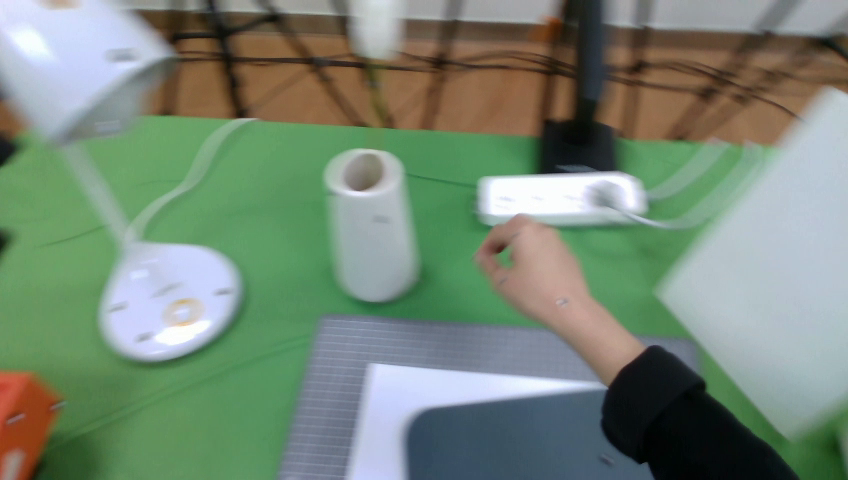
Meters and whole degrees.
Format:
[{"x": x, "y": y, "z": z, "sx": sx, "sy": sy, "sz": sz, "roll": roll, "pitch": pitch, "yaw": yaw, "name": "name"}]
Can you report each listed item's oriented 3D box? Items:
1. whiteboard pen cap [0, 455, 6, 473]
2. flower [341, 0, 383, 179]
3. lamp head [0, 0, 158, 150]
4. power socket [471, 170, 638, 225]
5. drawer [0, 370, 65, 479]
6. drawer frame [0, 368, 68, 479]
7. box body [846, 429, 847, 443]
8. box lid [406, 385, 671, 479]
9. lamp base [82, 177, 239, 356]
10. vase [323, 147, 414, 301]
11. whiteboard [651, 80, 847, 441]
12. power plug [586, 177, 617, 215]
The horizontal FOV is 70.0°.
[{"x": -0.423, "y": 0.222, "z": 0.582, "sx": 0.033, "sy": 0.018, "sz": 0.018, "roll": -22, "pitch": 55, "yaw": -17, "name": "whiteboard pen cap"}, {"x": -0.060, "y": -0.077, "z": 0.643, "sx": 0.038, "sy": 0.364, "sz": 0.043, "roll": -6, "pitch": 36, "yaw": -11, "name": "flower"}, {"x": -0.286, "y": -0.145, "z": 0.455, "sx": 0.123, "sy": 0.112, "sz": 0.112, "roll": 45, "pitch": 60, "yaw": -13, "name": "lamp head"}, {"x": 0.178, "y": -0.058, "z": 0.826, "sx": 0.227, "sy": 0.033, "sz": 0.071, "roll": -1, "pitch": 54, "yaw": 1, "name": "power socket"}, {"x": -0.483, "y": 0.217, "z": 0.561, "sx": 0.212, "sy": 0.074, "sz": 0.192, "roll": 2, "pitch": 55, "yaw": 4, "name": "drawer"}, {"x": -0.489, "y": 0.220, "z": 0.563, "sx": 0.213, "sy": 0.083, "sz": 0.200, "roll": 2, "pitch": 55, "yaw": 3, "name": "drawer frame"}, {"x": 0.539, "y": 0.289, "z": 0.476, "sx": 0.254, "sy": 0.162, "sz": 0.360, "roll": 2, "pitch": 54, "yaw": 4, "name": "box body"}, {"x": 0.127, "y": 0.317, "z": 0.564, "sx": 0.263, "sy": 0.015, "sz": 0.367, "roll": -6, "pitch": 54, "yaw": -3, "name": "box lid"}, {"x": -0.324, "y": 0.020, "z": 0.695, "sx": 0.178, "sy": 0.182, "sz": 0.160, "roll": 31, "pitch": 60, "yaw": 26, "name": "lamp base"}, {"x": -0.066, "y": -0.014, "z": 0.699, "sx": 0.098, "sy": 0.202, "sz": 0.097, "roll": -2, "pitch": 53, "yaw": 3, "name": "vase"}, {"x": 0.429, "y": 0.023, "z": 0.626, "sx": 0.144, "sy": 0.307, "sz": 0.215, "roll": -12, "pitch": 51, "yaw": -30, "name": "whiteboard"}, {"x": 0.229, "y": -0.050, "z": 0.789, "sx": 0.035, "sy": 0.053, "sz": 0.072, "roll": 7, "pitch": 56, "yaw": 8, "name": "power plug"}]
